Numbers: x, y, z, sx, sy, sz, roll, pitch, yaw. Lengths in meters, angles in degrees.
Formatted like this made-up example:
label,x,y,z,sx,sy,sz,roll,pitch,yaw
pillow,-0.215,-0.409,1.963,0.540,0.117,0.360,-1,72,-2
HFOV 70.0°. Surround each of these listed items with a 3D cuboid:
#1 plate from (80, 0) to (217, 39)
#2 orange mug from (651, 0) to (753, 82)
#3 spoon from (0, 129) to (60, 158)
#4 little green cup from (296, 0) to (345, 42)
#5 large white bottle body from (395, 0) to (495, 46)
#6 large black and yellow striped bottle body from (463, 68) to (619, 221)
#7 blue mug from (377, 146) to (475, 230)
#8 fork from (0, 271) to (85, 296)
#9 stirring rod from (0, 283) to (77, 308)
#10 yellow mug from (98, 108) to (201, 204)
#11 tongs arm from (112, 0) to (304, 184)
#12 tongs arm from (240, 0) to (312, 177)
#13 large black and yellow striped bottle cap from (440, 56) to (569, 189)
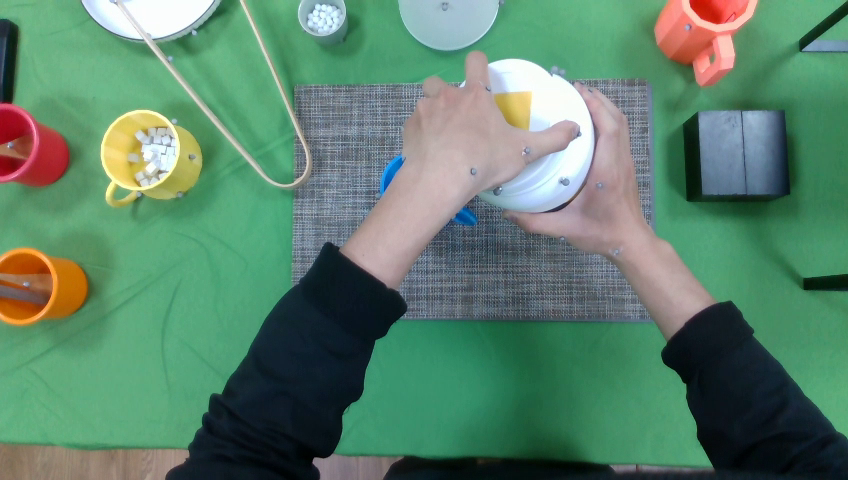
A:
label,x,y,z,sx,sy,sz,roll,pitch,yaw
plate,-0.354,-0.361,0.796,0.207,0.039,0.207,0,86,3
orange mug,0.332,-0.258,0.719,0.083,0.101,0.125,-10,80,3
spoon,-0.549,-0.107,0.733,0.194,0.021,0.041,-20,80,-43
little green cup,-0.130,-0.287,0.777,0.061,0.039,0.061,0,86,3
large white bottle body,0.022,-0.321,0.698,0.130,0.185,0.130,0,84,4
large black and yellow striped bottle body,0.109,-0.092,0.596,0.130,0.185,0.130,-3,84,29
blue mug,0.008,-0.051,0.713,0.116,0.106,0.082,26,87,5
fork,-0.517,0.038,0.715,0.209,0.018,0.028,17,83,-39
stirring rod,-0.509,0.056,0.717,0.006,0.178,0.014,-14,64,45
yellow mug,-0.352,-0.096,0.760,0.100,0.064,0.131,39,89,5
tongs arm,-0.292,-0.216,0.761,0.051,0.026,0.385,-38,91,-4
tongs arm,-0.221,-0.262,0.764,0.028,0.028,0.387,-24,91,-7
large black and yellow striped bottle cap,0.066,-0.101,0.521,0.114,0.019,0.114,-4,82,30
